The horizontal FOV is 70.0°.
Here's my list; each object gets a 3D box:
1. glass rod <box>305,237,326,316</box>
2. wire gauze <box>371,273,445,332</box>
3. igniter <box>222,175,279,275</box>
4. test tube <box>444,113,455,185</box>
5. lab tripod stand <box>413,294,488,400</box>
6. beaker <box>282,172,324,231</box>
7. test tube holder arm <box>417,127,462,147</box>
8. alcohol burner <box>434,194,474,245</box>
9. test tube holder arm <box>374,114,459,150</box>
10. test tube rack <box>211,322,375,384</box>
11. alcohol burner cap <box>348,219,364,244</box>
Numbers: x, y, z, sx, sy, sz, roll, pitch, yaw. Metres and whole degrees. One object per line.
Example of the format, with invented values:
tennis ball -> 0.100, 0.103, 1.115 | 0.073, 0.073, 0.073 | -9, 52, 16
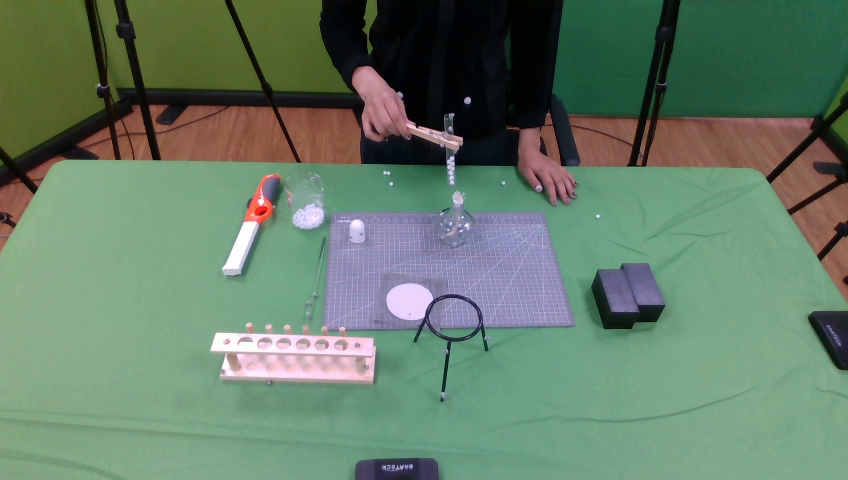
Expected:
glass rod -> -0.202, 0.063, 1.131 | 0.008, 0.008, 0.198 | 4, 44, 0
wire gauze -> -0.028, 0.108, 1.100 | 0.125, 0.011, 0.121 | 8, 45, 4
igniter -> -0.341, -0.039, 1.207 | 0.057, 0.025, 0.275 | -1, 45, 9
test tube -> 0.045, -0.158, 1.077 | 0.017, 0.151, 0.017 | -3, 45, 3
lab tripod stand -> 0.044, 0.159, 0.972 | 0.148, 0.132, 0.147 | 2, 44, -2
beaker -> -0.234, -0.073, 1.199 | 0.084, 0.101, 0.074 | 24, 50, 17
test tube holder arm -> 0.026, -0.183, 1.073 | 0.087, 0.015, 0.010 | 17, 44, 18
alcohol burner -> 0.061, -0.046, 1.183 | 0.078, 0.119, 0.077 | 3, 47, -3
test tube holder arm -> -0.016, -0.195, 1.085 | 0.178, 0.015, 0.013 | 22, 45, 22
test tube rack -> -0.203, 0.176, 0.969 | 0.242, 0.085, 0.066 | 3, 46, -2
alcohol burner cap -> -0.134, -0.019, 1.190 | 0.034, 0.048, 0.033 | 2, 46, -2
